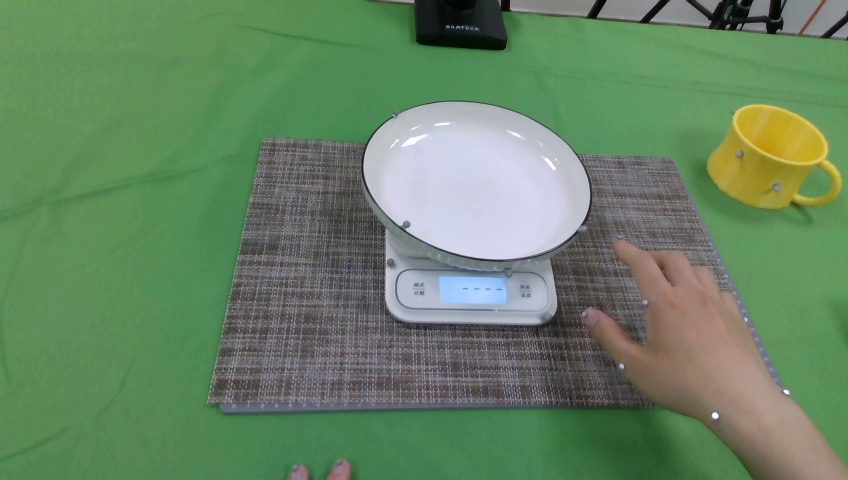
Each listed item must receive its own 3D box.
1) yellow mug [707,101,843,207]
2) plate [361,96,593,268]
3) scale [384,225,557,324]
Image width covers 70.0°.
[{"bbox_3d":[0.382,-0.086,0.651,0.130,0.064,0.100,39,56,22],"label":"yellow mug"},{"bbox_3d":[0.046,-0.054,0.550,0.209,0.038,0.207,4,50,-5],"label":"plate"},{"bbox_3d":[0.039,-0.014,0.559,0.149,0.032,0.199,3,50,-6],"label":"scale"}]
